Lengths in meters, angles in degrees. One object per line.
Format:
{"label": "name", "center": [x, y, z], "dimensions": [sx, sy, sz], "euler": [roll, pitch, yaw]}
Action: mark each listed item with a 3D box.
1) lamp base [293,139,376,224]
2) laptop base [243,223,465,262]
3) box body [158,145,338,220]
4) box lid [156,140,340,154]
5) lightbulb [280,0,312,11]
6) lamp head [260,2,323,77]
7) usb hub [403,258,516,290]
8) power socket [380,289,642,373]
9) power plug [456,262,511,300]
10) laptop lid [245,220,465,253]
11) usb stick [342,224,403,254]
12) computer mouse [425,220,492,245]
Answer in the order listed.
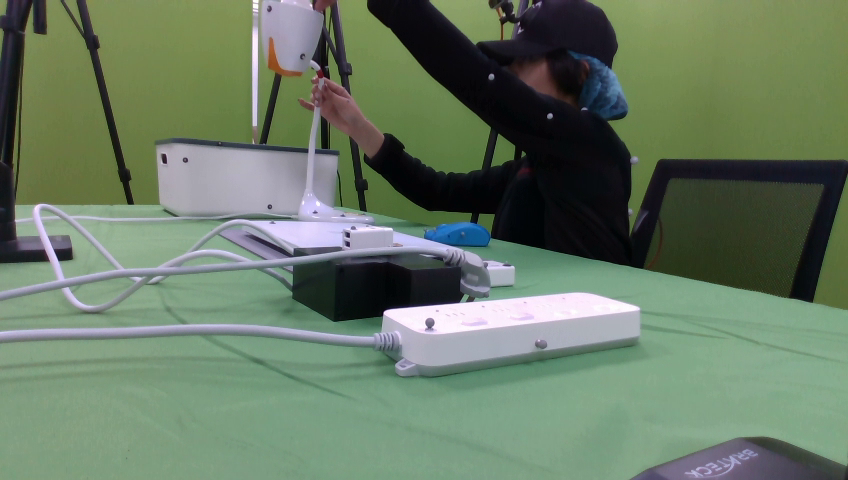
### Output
{"label": "lamp base", "center": [-0.191, -0.121, 1.257], "dimensions": [0.179, 0.180, 0.161], "euler": [0, 6, 7]}
{"label": "laptop base", "center": [-0.126, 0.003, 0.946], "dimensions": [0.237, 0.023, 0.352], "euler": [2, 6, -31]}
{"label": "box body", "center": [-0.410, -0.139, 1.414], "dimensions": [0.366, 0.160, 0.253], "euler": [-3, 8, -33]}
{"label": "box lid", "center": [-0.409, -0.213, 1.404], "dimensions": [0.373, 0.015, 0.262], "euler": [-2, 8, -32]}
{"label": "lightbulb", "center": [-0.237, -0.387, 1.091], "dimensions": [0.059, 0.107, 0.059], "euler": [15, 16, -4]}
{"label": "lamp head", "center": [-0.245, -0.361, 1.107], "dimensions": [0.112, 0.123, 0.112], "euler": [7, 15, -2]}
{"label": "usb hub", "center": [0.042, 0.038, 0.690], "dimensions": [0.126, 0.025, 0.049], "euler": [-2, 9, -30]}
{"label": "power socket", "center": [0.072, 0.064, 0.461], "dimensions": [0.228, 0.032, 0.072], "euler": [-2, 8, -30]}
{"label": "power plug", "center": [0.052, 0.051, 0.543], "dimensions": [0.035, 0.052, 0.072], "euler": [6, 37, -20]}
{"label": "laptop lid", "center": [-0.124, -0.009, 0.945], "dimensions": [0.243, 0.013, 0.355], "euler": [1, 7, -29]}
{"label": "usb stick", "center": [-0.047, -0.001, 0.567], "dimensions": [0.059, 0.027, 0.021], "euler": [0, 5, -32]}
{"label": "computer mouse", "center": [0.060, -0.013, 1.060], "dimensions": [0.117, 0.041, 0.062], "euler": [-2, 9, -6]}
